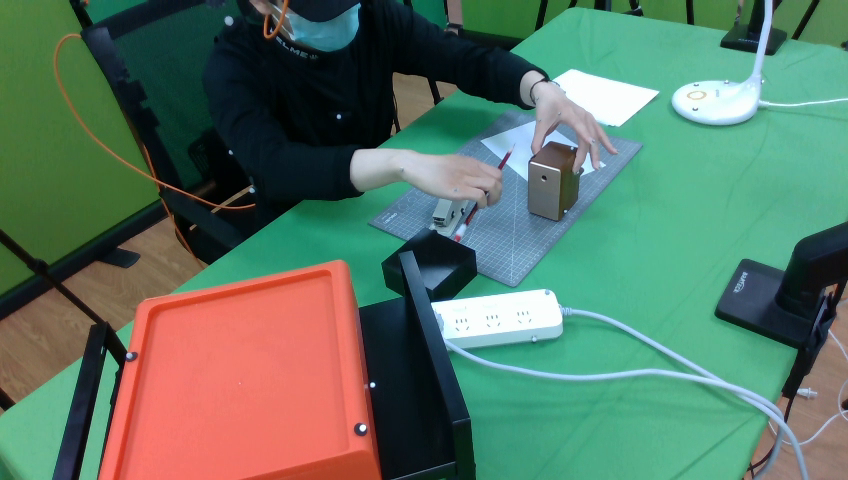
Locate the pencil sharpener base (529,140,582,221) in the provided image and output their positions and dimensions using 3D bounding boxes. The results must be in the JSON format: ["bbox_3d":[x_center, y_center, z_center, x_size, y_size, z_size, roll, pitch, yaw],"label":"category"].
[{"bbox_3d":[0.214,-0.097,0.986,0.061,0.107,0.077,21,48,30],"label":"pencil sharpener base"}]

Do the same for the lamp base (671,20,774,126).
[{"bbox_3d":[0.581,-0.332,1.154,0.179,0.181,0.160,2,41,7],"label":"lamp base"}]

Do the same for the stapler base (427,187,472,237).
[{"bbox_3d":[0.045,-0.057,1.028,0.041,0.024,0.130,10,44,20],"label":"stapler base"}]

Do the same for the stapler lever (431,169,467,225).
[{"bbox_3d":[0.043,-0.074,1.010,0.026,0.040,0.118,10,44,21],"label":"stapler lever"}]

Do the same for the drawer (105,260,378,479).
[{"bbox_3d":[-0.150,0.127,0.525,0.195,0.073,0.210,-11,41,-5],"label":"drawer"}]

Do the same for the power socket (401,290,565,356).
[{"bbox_3d":[0.080,0.112,0.822,0.227,0.033,0.072,-6,41,0],"label":"power socket"}]

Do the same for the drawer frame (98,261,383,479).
[{"bbox_3d":[-0.149,0.129,0.520,0.202,0.083,0.212,-12,41,-6],"label":"drawer frame"}]

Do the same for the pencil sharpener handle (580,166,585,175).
[{"bbox_3d":[0.247,-0.135,1.004,0.035,0.068,0.031,0,35,45],"label":"pencil sharpener handle"}]

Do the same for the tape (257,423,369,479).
[{"bbox_3d":[-0.121,0.262,0.660,0.117,0.053,0.116,-4,40,4],"label":"tape"}]

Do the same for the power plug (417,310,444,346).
[{"bbox_3d":[0.006,0.122,0.785,0.035,0.053,0.072,-1,40,9],"label":"power plug"}]

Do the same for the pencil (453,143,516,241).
[{"bbox_3d":[0.096,-0.078,0.936,0.012,0.012,0.194,23,71,31],"label":"pencil"}]
